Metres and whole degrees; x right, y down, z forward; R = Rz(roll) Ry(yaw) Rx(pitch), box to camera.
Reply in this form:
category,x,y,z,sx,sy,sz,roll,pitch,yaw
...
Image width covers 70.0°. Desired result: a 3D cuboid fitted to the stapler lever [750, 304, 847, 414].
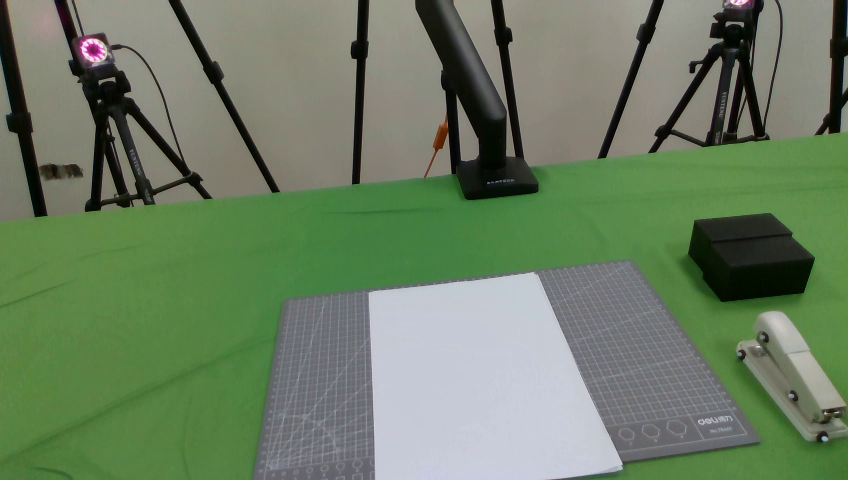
category,x,y,z,sx,sy,sz,roll,pitch,yaw
stapler lever,0.349,0.107,0.568,0.027,0.040,0.117,-8,35,-3

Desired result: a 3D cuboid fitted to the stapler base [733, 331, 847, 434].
category,x,y,z,sx,sy,sz,roll,pitch,yaw
stapler base,0.350,0.127,0.584,0.041,0.024,0.129,-8,34,-3
